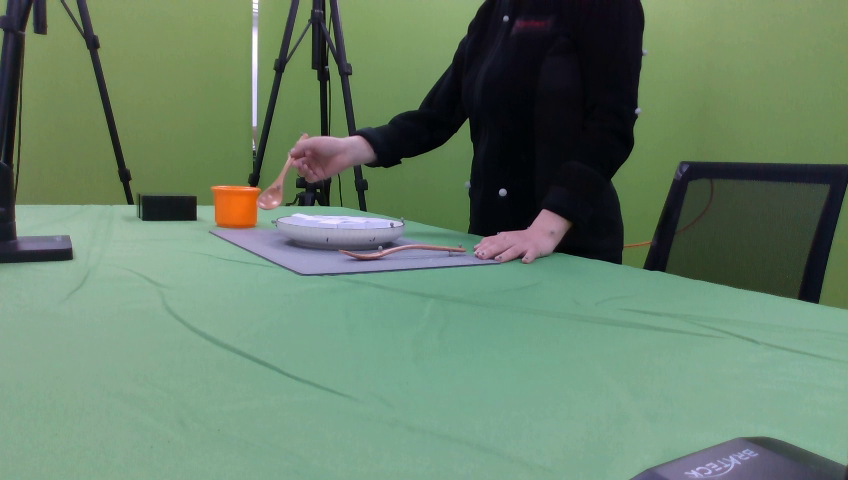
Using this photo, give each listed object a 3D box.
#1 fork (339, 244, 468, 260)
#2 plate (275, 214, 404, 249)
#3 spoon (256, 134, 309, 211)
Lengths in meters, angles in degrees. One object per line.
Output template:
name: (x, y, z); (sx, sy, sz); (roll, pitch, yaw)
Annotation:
fork: (-0.024, 0.016, 0.865); (0.208, 0.018, 0.028); (-4, 4, -31)
plate: (-0.135, -0.013, 0.982); (0.208, 0.039, 0.207); (3, 7, 0)
spoon: (-0.254, -0.128, 1.116); (0.041, 0.193, 0.021); (17, -29, 8)
